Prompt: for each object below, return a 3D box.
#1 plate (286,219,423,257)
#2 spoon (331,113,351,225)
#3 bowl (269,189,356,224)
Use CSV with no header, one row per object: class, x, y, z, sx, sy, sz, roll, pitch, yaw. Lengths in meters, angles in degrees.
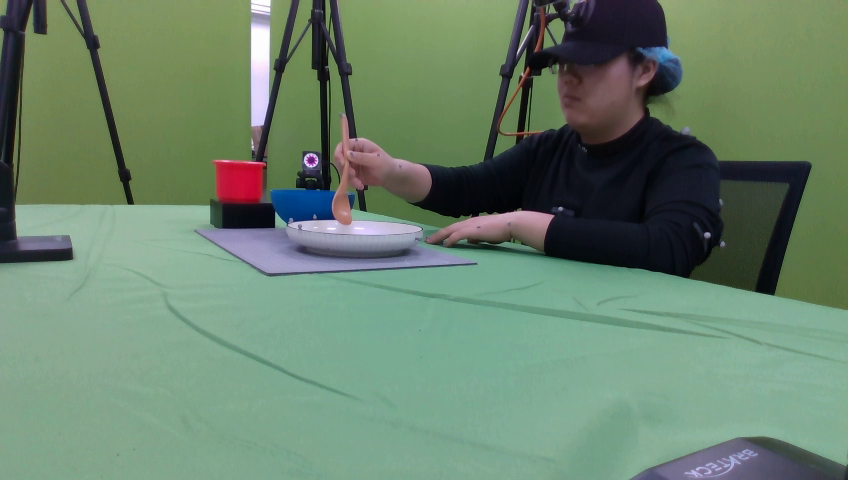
plate,-0.105,-0.004,0.922,0.208,0.039,0.207,3,7,0
spoon,-0.129,-0.117,0.976,0.021,0.193,0.042,-10,-19,41
bowl,-0.199,-0.049,1.080,0.151,0.077,0.151,3,7,0
